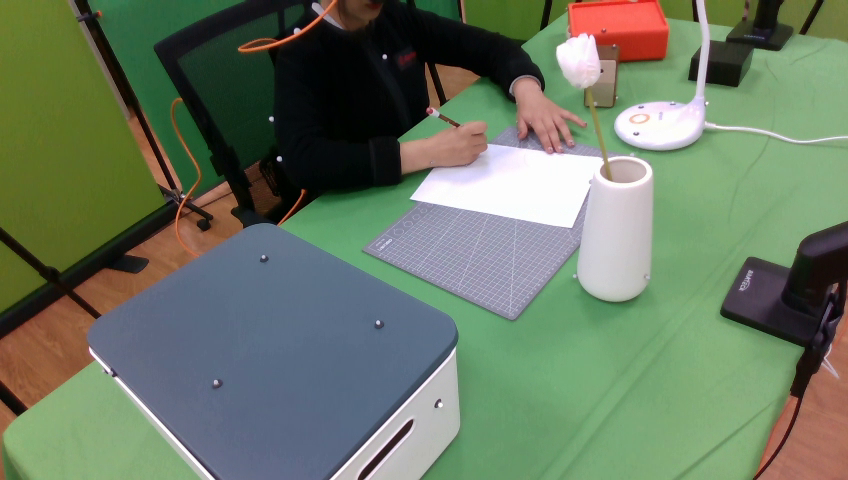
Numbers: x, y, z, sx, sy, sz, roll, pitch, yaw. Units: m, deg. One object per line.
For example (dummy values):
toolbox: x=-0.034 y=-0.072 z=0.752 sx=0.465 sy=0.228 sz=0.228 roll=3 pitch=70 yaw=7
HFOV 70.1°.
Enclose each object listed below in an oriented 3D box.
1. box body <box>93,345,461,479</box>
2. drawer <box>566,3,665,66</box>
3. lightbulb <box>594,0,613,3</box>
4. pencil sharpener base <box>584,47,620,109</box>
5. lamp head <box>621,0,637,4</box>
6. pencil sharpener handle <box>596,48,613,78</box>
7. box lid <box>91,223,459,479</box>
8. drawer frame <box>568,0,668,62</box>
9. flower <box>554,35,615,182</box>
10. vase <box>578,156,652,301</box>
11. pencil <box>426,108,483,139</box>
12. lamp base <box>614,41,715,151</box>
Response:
box body: x=-0.162 y=0.170 z=0.708 sx=0.361 sy=0.161 sz=0.255 roll=25 pitch=50 yaw=34
drawer: x=0.447 y=-0.493 z=1.440 sx=0.211 sy=0.073 sz=0.194 roll=0 pitch=40 yaw=10
lightbulb: x=0.305 y=-0.437 z=0.978 sx=0.060 sy=0.107 sz=0.059 roll=12 pitch=43 yaw=-11
pencil sharpener base: x=0.368 y=-0.336 z=1.249 sx=0.061 sy=0.107 sz=0.076 roll=6 pitch=42 yaw=19
lamp head: x=0.319 y=-0.453 z=0.962 sx=0.113 sy=0.123 sz=0.112 roll=20 pitch=33 yaw=-13
pencil sharpener handle: x=0.382 y=-0.378 z=1.276 sx=0.036 sy=0.068 sz=0.030 roll=4 pitch=41 yaw=20
box lid: x=-0.174 y=0.103 z=0.667 sx=0.368 sy=0.015 sz=0.264 roll=24 pitch=48 yaw=35
drawer frame: x=0.450 y=-0.495 z=1.441 sx=0.213 sy=0.083 sz=0.201 roll=-1 pitch=40 yaw=9
flower: x=0.237 y=-0.083 z=0.774 sx=0.044 sy=0.363 sz=0.038 roll=-22 pitch=26 yaw=7
vase: x=0.261 y=-0.011 z=0.812 sx=0.098 sy=0.201 sz=0.097 roll=-4 pitch=40 yaw=4
pencil: x=0.062 y=-0.212 z=1.118 sx=0.012 sy=0.012 sz=0.196 roll=25 pitch=8 yaw=35
lamp base: x=0.449 y=-0.277 z=1.106 sx=0.179 sy=0.181 sz=0.160 roll=1 pitch=41 yaw=9
